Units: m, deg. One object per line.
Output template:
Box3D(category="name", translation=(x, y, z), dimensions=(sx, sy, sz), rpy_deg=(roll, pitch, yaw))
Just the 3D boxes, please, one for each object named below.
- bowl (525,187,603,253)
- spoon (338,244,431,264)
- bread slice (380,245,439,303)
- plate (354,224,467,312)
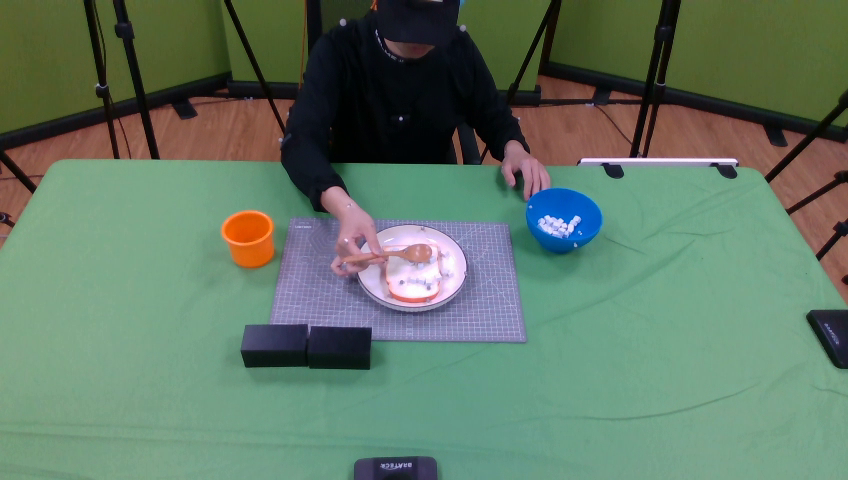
Box3D(category="bowl", translation=(0.271, -0.028, 1.207), dimensions=(0.151, 0.077, 0.150), rpy_deg=(2, 46, -2))
Box3D(category="spoon", translation=(-0.067, 0.026, 1.078), dimensions=(0.194, 0.022, 0.041), rpy_deg=(-3, 52, -40))
Box3D(category="bread slice", translation=(-0.022, 0.061, 1.126), dimensions=(0.107, 0.018, 0.133), rpy_deg=(-3, 45, -8))
Box3D(category="plate", translation=(-0.025, 0.055, 1.128), dimensions=(0.209, 0.038, 0.208), rpy_deg=(3, 46, -2))
